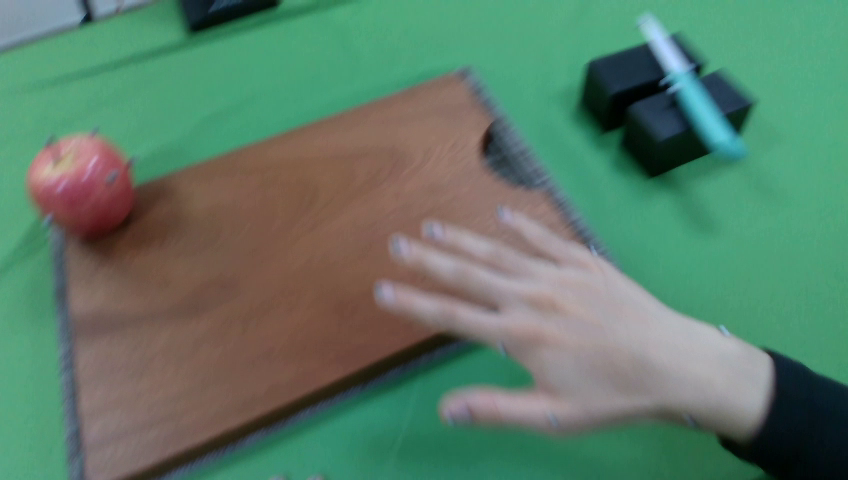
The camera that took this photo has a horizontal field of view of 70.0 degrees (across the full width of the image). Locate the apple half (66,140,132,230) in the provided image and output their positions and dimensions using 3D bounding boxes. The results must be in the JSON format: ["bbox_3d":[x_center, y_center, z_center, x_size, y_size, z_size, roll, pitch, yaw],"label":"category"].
[{"bbox_3d":[-0.271,-0.050,0.524,0.033,0.082,0.080,-18,55,-2],"label":"apple half"}]

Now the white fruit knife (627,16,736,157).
[{"bbox_3d":[0.229,-0.151,0.561,0.027,0.016,0.205,4,49,-21],"label":"white fruit knife"}]

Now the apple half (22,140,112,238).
[{"bbox_3d":[-0.309,-0.039,0.521,0.053,0.075,0.080,-17,57,-2],"label":"apple half"}]
